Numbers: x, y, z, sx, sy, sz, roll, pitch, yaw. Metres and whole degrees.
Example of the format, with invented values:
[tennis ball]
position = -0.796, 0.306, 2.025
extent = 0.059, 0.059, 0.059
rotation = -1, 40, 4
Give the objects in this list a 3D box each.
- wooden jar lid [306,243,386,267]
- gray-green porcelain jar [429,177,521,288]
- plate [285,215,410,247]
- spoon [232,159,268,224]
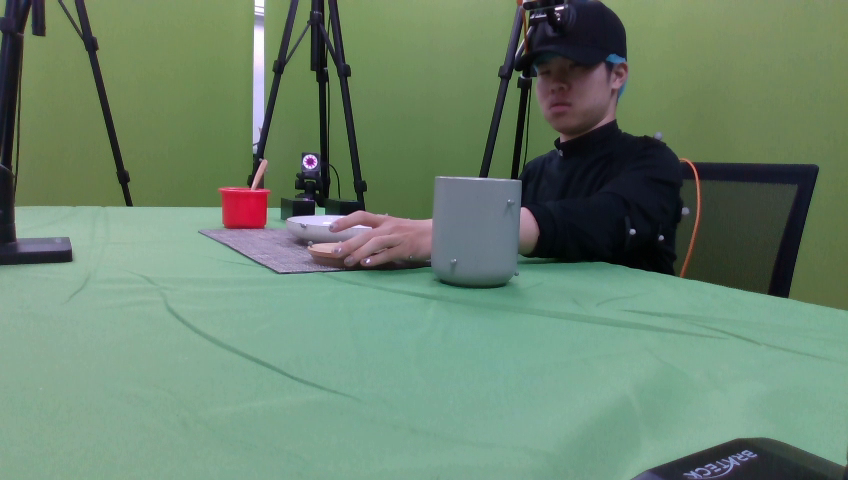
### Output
[wooden jar lid]
position = -0.105, 0.020, 0.816
extent = 0.108, 0.020, 0.108
rotation = 1, 7, 0
[gray-green porcelain jar]
position = 0.060, -0.011, 0.725
extent = 0.106, 0.126, 0.106
rotation = 2, 7, 0
[plate]
position = -0.127, -0.015, 1.012
extent = 0.208, 0.039, 0.207
rotation = 3, 7, 0
[spoon]
position = -0.343, -0.101, 1.218
extent = 0.041, 0.021, 0.193
rotation = 4, 51, 4
